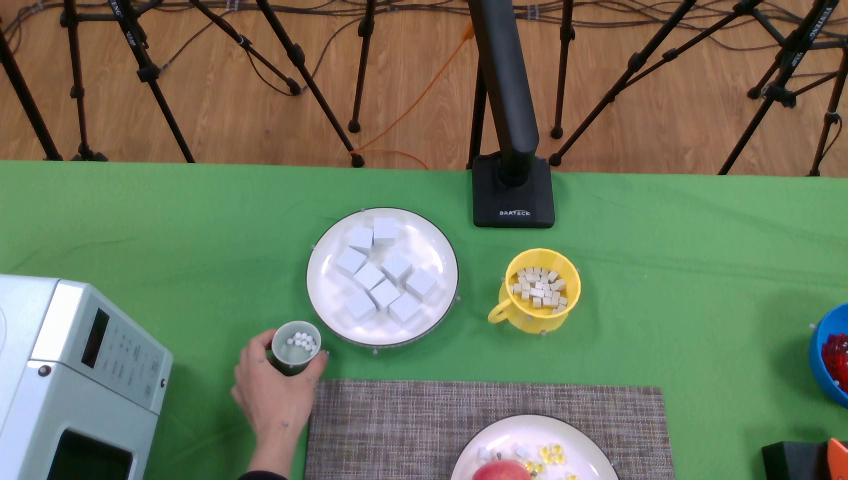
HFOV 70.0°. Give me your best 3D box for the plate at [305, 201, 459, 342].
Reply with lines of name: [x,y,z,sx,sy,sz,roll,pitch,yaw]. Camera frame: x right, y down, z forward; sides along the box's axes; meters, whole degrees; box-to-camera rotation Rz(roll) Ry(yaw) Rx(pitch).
plate: [-0.057,0.044,0.833,0.208,0.039,0.206,1,64,-1]

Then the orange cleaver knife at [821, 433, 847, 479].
orange cleaver knife: [0.470,0.330,0.685,0.012,0.077,0.211,2,88,4]

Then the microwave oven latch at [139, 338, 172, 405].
microwave oven latch: [-0.335,0.161,0.746,0.030,0.030,0.078,7,65,1]

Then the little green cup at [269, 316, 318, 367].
little green cup: [-0.165,0.133,0.780,0.061,0.039,0.061,0,58,0]

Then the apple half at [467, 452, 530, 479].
apple half: [0.088,0.285,0.698,0.075,0.054,0.080,-1,65,1]

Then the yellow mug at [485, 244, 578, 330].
yellow mug: [0.138,0.070,0.811,0.131,0.064,0.099,-28,67,-14]

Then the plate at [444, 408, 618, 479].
plate: [0.124,0.304,0.708,0.209,0.038,0.207,1,65,-2]

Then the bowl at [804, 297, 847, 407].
bowl: [0.553,0.155,0.775,0.151,0.077,0.150,1,64,-1]

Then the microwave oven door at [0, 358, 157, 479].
microwave oven door: [-0.352,0.311,0.559,0.039,0.245,0.353,4,64,1]

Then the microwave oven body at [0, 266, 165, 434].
microwave oven body: [-0.495,0.264,0.583,0.326,0.262,0.438,5,65,0]
